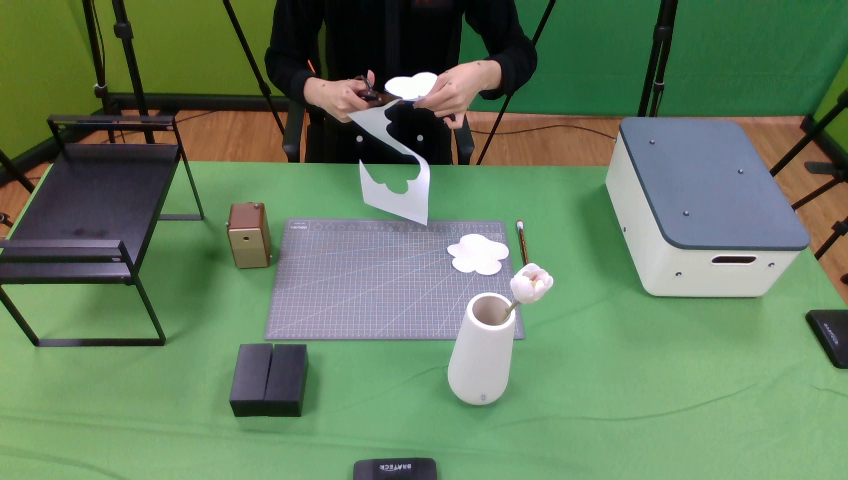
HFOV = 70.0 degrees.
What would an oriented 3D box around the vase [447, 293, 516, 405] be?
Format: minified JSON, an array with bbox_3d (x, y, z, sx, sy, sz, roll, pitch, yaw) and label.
[{"bbox_3d":[0.091,0.169,0.921,0.098,0.201,0.097,3,47,-3],"label":"vase"}]

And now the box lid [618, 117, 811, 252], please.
[{"bbox_3d":[0.534,-0.117,1.149,0.263,0.015,0.369,0,47,-3],"label":"box lid"}]

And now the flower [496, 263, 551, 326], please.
[{"bbox_3d":[0.102,0.120,0.853,0.044,0.363,0.038,-2,64,-10],"label":"flower"}]

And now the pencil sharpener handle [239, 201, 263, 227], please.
[{"bbox_3d":[-0.324,-0.056,1.150,0.036,0.068,0.030,-14,46,5],"label":"pencil sharpener handle"}]

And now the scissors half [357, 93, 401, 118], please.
[{"bbox_3d":[-0.080,-0.244,1.083,0.013,0.040,0.174,-21,13,-25],"label":"scissors half"}]

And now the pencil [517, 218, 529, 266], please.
[{"bbox_3d":[0.200,0.028,1.196,0.012,0.012,0.193,1,48,-3],"label":"pencil"}]

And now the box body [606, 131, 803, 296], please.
[{"bbox_3d":[0.530,-0.067,1.204,0.254,0.161,0.361,1,46,-4],"label":"box body"}]

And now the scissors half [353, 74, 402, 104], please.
[{"bbox_3d":[-0.084,-0.263,1.075,0.013,0.040,0.174,-26,37,-23],"label":"scissors half"}]

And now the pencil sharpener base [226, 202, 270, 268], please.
[{"bbox_3d":[-0.323,-0.010,1.124,0.061,0.107,0.076,-3,46,-7],"label":"pencil sharpener base"}]
